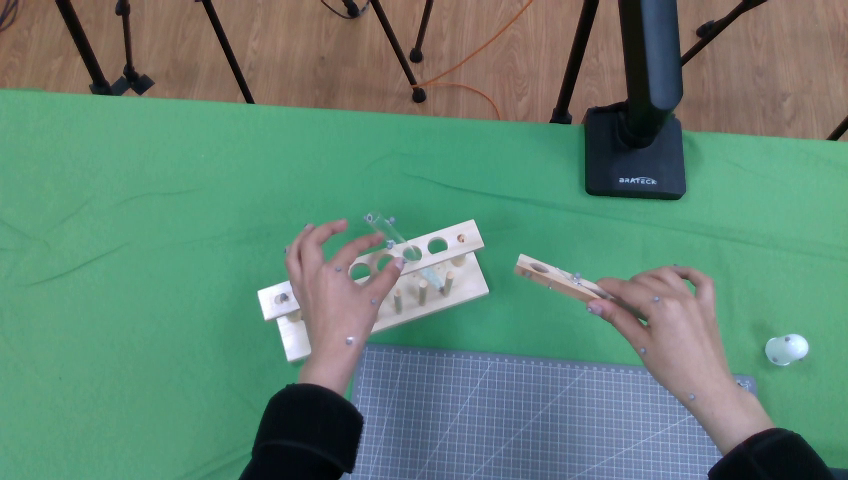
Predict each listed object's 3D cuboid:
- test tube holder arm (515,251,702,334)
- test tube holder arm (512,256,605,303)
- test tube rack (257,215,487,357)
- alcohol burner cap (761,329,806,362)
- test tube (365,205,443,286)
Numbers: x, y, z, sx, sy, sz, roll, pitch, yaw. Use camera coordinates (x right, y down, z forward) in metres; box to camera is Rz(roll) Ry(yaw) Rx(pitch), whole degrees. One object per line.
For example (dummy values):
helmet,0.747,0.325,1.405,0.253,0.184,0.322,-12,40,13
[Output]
test tube holder arm,0.169,0.049,0.563,0.178,0.015,0.013,20,57,6
test tube holder arm,0.125,0.037,0.565,0.087,0.015,0.010,21,57,7
test tube rack,-0.051,0.053,0.674,0.242,0.086,0.066,-18,71,-6
alcohol burner cap,0.405,0.116,0.677,0.034,0.048,0.033,0,69,0
test tube,-0.017,0.010,0.644,0.017,0.152,0.017,-17,51,22
